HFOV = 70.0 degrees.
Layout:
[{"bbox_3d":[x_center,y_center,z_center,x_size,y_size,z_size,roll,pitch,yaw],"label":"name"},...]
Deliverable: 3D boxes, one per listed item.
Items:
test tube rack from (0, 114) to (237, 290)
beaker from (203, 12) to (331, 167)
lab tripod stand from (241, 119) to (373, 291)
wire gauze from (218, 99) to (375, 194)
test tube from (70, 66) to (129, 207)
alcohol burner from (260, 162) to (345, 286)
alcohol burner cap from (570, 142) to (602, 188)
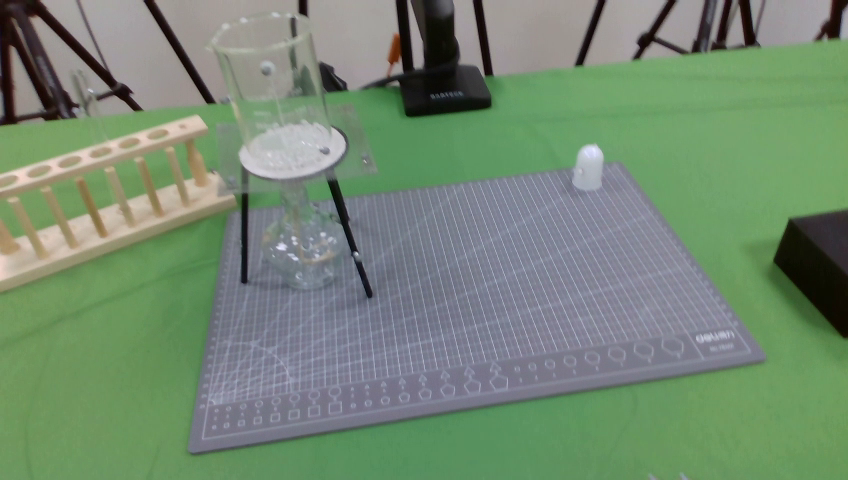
[{"bbox_3d":[-0.330,-0.045,0.626,0.243,0.086,0.066,-24,44,-23],"label":"test tube rack"},{"bbox_3d":[-0.116,-0.114,0.471,0.084,0.101,0.073,-7,40,-1],"label":"beaker"},{"bbox_3d":[-0.107,-0.029,0.548,0.148,0.133,0.147,-3,42,3],"label":"lab tripod stand"},{"bbox_3d":[-0.111,-0.079,0.506,0.125,0.011,0.120,-14,39,-7],"label":"wire gauze"},{"bbox_3d":[-0.326,-0.100,0.613,0.017,0.151,0.017,0,34,0],"label":"test tube"},{"bbox_3d":[-0.113,-0.017,0.549,0.078,0.120,0.077,-2,38,2],"label":"alcohol burner"},{"bbox_3d":[0.179,-0.085,0.663,0.034,0.048,0.033,-2,40,2],"label":"alcohol burner cap"}]
